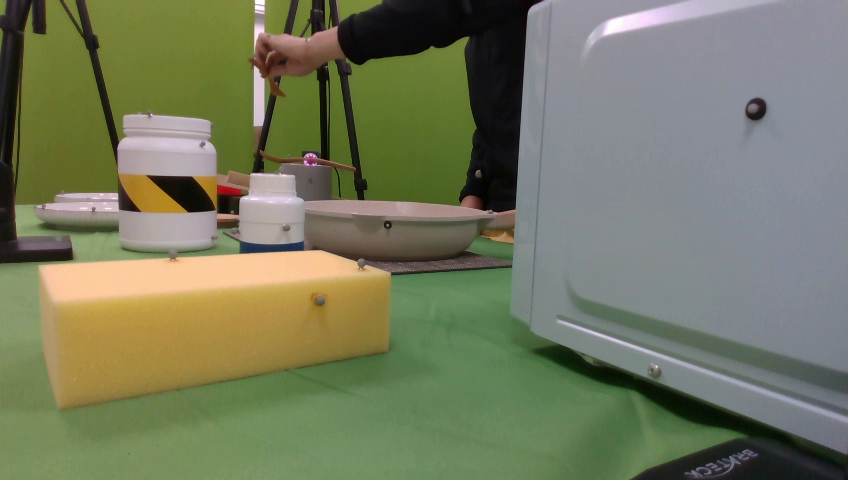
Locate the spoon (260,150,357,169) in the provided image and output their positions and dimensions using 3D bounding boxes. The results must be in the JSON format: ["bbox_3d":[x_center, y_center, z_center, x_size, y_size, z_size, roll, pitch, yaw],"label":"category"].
[{"bbox_3d":[-0.231,-0.162,1.221,0.194,0.021,0.041,3,2,-15],"label":"spoon"}]

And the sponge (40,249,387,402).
[{"bbox_3d":[-0.142,0.047,0.420,0.208,0.061,0.117,-3,8,-36],"label":"sponge"}]

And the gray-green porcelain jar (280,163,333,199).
[{"bbox_3d":[-0.238,-0.091,1.221,0.106,0.126,0.106,2,7,0],"label":"gray-green porcelain jar"}]

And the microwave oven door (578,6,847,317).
[{"bbox_3d":[0.294,-0.067,0.570,0.358,0.243,0.039,-3,9,-31],"label":"microwave oven door"}]

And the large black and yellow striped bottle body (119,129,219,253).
[{"bbox_3d":[-0.367,-0.080,0.876,0.131,0.184,0.130,1,7,0],"label":"large black and yellow striped bottle body"}]

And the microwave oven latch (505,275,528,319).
[{"bbox_3d":[0.100,0.041,0.471,0.079,0.029,0.030,-1,7,-28],"label":"microwave oven latch"}]

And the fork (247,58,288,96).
[{"bbox_3d":[-0.298,-0.308,1.156,0.028,0.018,0.207,10,-6,4],"label":"fork"}]

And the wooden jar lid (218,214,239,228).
[{"bbox_3d":[-0.404,-0.037,1.169,0.108,0.020,0.108,3,7,0],"label":"wooden jar lid"}]

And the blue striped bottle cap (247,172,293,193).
[{"bbox_3d":[-0.152,-0.057,0.598,0.044,0.020,0.044,3,7,0],"label":"blue striped bottle cap"}]

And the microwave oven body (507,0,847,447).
[{"bbox_3d":[0.331,-0.042,0.425,0.444,0.260,0.324,-2,8,-31],"label":"microwave oven body"}]

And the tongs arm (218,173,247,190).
[{"bbox_3d":[-0.315,-0.110,1.448,0.389,0.027,0.028,11,-7,-26],"label":"tongs arm"}]

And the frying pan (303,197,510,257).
[{"bbox_3d":[0.051,-0.035,0.915,0.487,0.102,0.307,-5,7,10],"label":"frying pan"}]

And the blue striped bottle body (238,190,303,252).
[{"bbox_3d":[-0.153,-0.007,0.605,0.063,0.120,0.063,2,7,0],"label":"blue striped bottle body"}]

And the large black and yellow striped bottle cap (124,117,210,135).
[{"bbox_3d":[-0.366,-0.163,0.866,0.115,0.019,0.115,3,7,0],"label":"large black and yellow striped bottle cap"}]

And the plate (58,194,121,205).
[{"bbox_3d":[-0.671,-0.074,1.310,0.209,0.038,0.209,2,8,0],"label":"plate"}]

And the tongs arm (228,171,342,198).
[{"bbox_3d":[-0.267,-0.103,1.378,0.387,0.026,0.050,11,-3,-40],"label":"tongs arm"}]

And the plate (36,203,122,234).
[{"bbox_3d":[-0.571,-0.040,1.082,0.208,0.039,0.207,2,8,0],"label":"plate"}]
